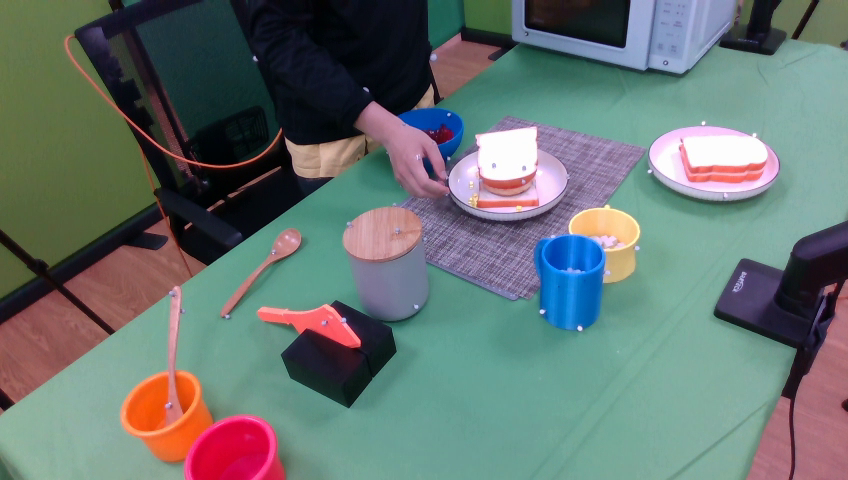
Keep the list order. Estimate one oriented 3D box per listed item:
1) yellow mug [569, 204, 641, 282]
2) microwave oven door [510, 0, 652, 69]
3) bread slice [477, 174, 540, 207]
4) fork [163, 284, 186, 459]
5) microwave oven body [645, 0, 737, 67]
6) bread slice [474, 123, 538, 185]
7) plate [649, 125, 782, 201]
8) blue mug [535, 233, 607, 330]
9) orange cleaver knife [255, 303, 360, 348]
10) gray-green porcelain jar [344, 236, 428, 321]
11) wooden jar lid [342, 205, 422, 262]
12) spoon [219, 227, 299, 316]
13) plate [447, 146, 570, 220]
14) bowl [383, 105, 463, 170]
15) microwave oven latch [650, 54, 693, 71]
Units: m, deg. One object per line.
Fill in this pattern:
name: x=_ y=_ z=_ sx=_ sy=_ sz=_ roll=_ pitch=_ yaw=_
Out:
yellow mug: x=0.268 y=-0.005 z=0.904 sx=0.099 sy=0.064 sz=0.130 roll=7 pitch=41 yaw=15
microwave oven door: x=0.345 y=-0.534 z=1.344 sx=0.353 sy=0.245 sz=0.039 roll=26 pitch=52 yaw=33
bread slice: x=0.145 y=-0.105 z=1.057 sx=0.105 sy=0.019 sz=0.131 roll=-2 pitch=42 yaw=6
fork: x=-0.303 y=0.157 z=0.733 sx=0.028 sy=0.019 sz=0.207 roll=-3 pitch=84 yaw=13
microwave oven body: x=0.475 y=-0.602 z=1.411 sx=0.438 sy=0.261 sz=0.327 roll=23 pitch=50 yaw=32
bread slice: x=0.141 y=-0.144 z=1.008 sx=0.107 sy=0.018 sz=0.133 roll=-8 pitch=47 yaw=8
plate: x=0.493 y=-0.128 z=1.036 sx=0.207 sy=0.039 sz=0.206 roll=-4 pitch=41 yaw=4
blue mug: x=0.191 y=0.048 z=0.824 sx=0.082 sy=0.106 sz=0.115 roll=-26 pitch=44 yaw=-21
orange cleaver knife: x=-0.161 y=0.115 z=0.813 sx=0.210 sy=0.077 sz=0.012 roll=-4 pitch=32 yaw=46
gray-green porcelain jar: x=-0.049 y=0.042 z=0.849 sx=0.106 sy=0.127 sz=0.105 roll=-4 pitch=41 yaw=4
wooden jar lid: x=-0.055 y=-0.006 z=0.808 sx=0.108 sy=0.021 sz=0.108 roll=-6 pitch=41 yaw=6
spoon: x=-0.261 y=0.046 z=0.954 sx=0.041 sy=0.021 sz=0.194 roll=27 pitch=48 yaw=10
plate: x=0.145 y=-0.098 z=1.046 sx=0.209 sy=0.038 sz=0.208 roll=-4 pitch=41 yaw=4
bowl: x=0.002 y=-0.185 z=1.142 sx=0.151 sy=0.077 sz=0.150 roll=-4 pitch=40 yaw=4
microwave oven latch: x=0.531 y=-0.386 z=1.301 sx=0.078 sy=0.029 sz=0.030 roll=26 pitch=51 yaw=33
